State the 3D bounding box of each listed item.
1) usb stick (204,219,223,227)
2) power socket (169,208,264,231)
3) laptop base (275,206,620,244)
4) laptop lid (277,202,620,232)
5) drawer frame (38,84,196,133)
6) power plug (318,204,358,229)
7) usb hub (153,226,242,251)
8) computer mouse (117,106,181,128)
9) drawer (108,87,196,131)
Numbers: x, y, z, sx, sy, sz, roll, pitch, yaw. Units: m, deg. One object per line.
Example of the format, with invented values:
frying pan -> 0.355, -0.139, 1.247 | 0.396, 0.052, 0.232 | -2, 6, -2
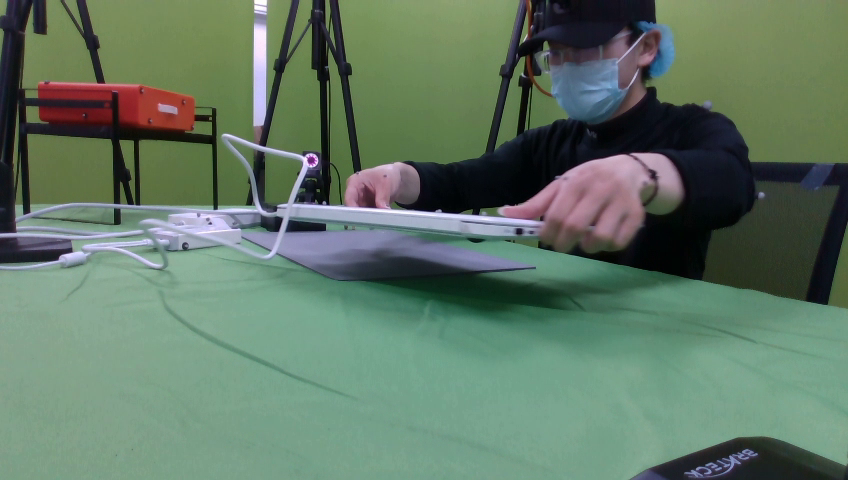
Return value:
usb stick -> -0.346, -0.018, 1.010 | 0.021, 0.027, 0.059 | -42, -1, -8
power socket -> -0.381, -0.038, 1.128 | 0.072, 0.032, 0.227 | 4, 8, 16
laptop base -> 0.015, -0.016, 0.710 | 0.352, 0.023, 0.237 | 7, 2, 45
laptop lid -> 0.018, -0.029, 0.711 | 0.243, 0.013, 0.355 | 2, 3, -44
drawer frame -> -0.612, -0.265, 1.229 | 0.213, 0.082, 0.202 | 3, 8, 7
power plug -> -0.169, -0.044, 1.207 | 0.072, 0.052, 0.035 | -11, -10, -1
usb hub -> -0.337, -0.003, 0.907 | 0.049, 0.025, 0.125 | 7, 9, 28
computer mouse -> -0.566, -0.252, 1.242 | 0.062, 0.041, 0.118 | 19, 27, 41
drawer -> -0.609, -0.264, 1.229 | 0.211, 0.073, 0.194 | 3, 8, 9
